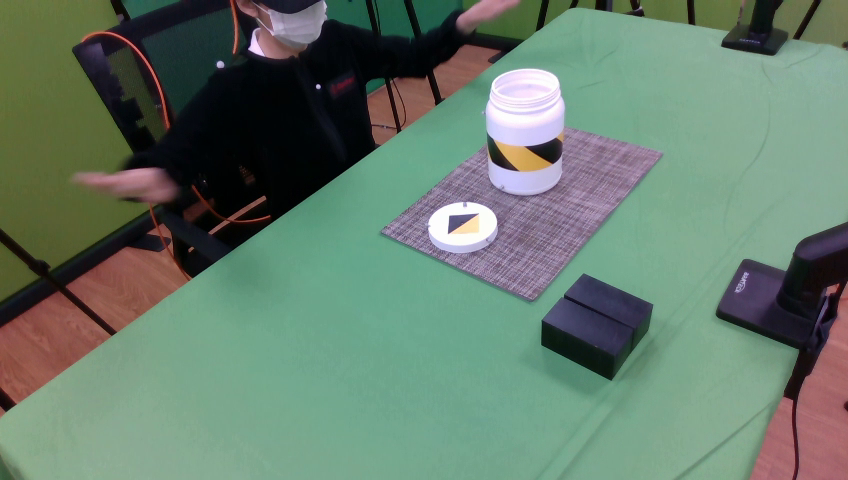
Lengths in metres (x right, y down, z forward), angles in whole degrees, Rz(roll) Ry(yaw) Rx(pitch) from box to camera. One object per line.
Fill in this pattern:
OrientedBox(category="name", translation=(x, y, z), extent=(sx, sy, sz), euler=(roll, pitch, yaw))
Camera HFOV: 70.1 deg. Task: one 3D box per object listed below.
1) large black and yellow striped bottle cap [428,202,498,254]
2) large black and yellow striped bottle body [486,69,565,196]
OrientedBox(category="large black and yellow striped bottle cap", translation=(0.064, -0.022, 0.990), extent=(0.115, 0.019, 0.114), euler=(-4, 42, 4))
OrientedBox(category="large black and yellow striped bottle body", translation=(0.173, -0.183, 1.033), extent=(0.131, 0.185, 0.130), euler=(-5, 41, 5))
